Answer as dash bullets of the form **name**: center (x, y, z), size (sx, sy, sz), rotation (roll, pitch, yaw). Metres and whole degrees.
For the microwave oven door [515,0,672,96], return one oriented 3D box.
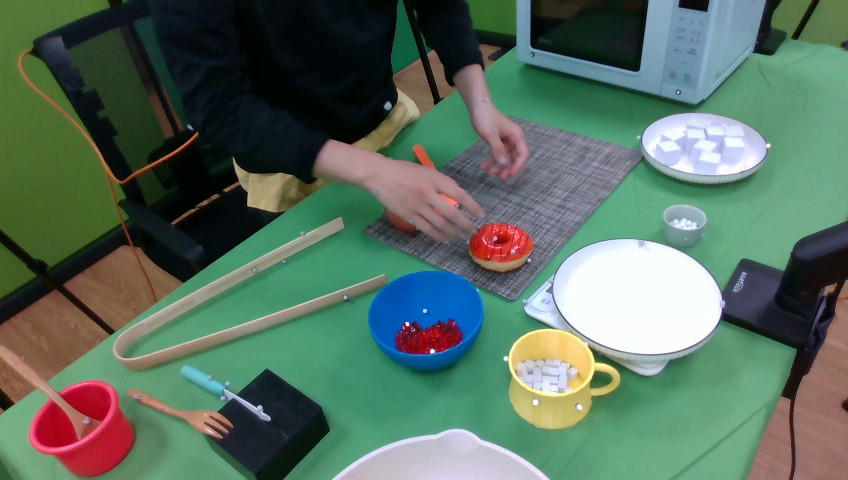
- **microwave oven door**: center (0.343, -0.454, 1.259), size (0.353, 0.245, 0.039), rotation (26, 51, 33)

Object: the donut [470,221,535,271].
- **donut**: center (0.119, 0.009, 0.923), size (0.099, 0.048, 0.098), rotation (-3, 39, 3)

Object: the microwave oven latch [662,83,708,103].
- **microwave oven latch**: center (0.517, -0.296, 1.204), size (0.078, 0.029, 0.030), rotation (27, 52, 35)

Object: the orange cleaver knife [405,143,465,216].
- **orange cleaver knife**: center (0.005, -0.113, 1.102), size (0.077, 0.012, 0.209), rotation (-24, 45, -9)

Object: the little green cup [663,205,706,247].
- **little green cup**: center (0.396, -0.020, 0.926), size (0.061, 0.039, 0.061), rotation (-4, 40, 4)

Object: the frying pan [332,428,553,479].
- **frying pan**: center (-0.089, 0.306, 0.564), size (0.487, 0.103, 0.306), rotation (10, 41, 7)

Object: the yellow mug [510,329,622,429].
- **yellow mug**: center (0.168, 0.164, 0.721), size (0.130, 0.064, 0.099), rotation (0, 40, 8)

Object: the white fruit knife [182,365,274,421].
- **white fruit knife**: center (-0.245, 0.187, 0.747), size (0.205, 0.027, 0.016), rotation (9, 41, 41)

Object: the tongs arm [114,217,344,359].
- **tongs arm**: center (-0.280, 0.068, 0.927), size (0.386, 0.026, 0.050), rotation (-29, 48, -22)

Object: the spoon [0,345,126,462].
- **spoon**: center (-0.434, 0.192, 0.720), size (0.194, 0.021, 0.042), rotation (47, 53, -6)

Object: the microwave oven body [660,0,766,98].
- **microwave oven body**: center (0.472, -0.513, 1.317), size (0.438, 0.261, 0.327), rotation (26, 51, 34)

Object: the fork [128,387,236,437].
- **fork**: center (-0.305, 0.207, 0.744), size (0.206, 0.019, 0.028), rotation (3, 41, 36)

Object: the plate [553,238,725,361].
- **plate**: center (0.273, 0.078, 0.783), size (0.209, 0.038, 0.208), rotation (-4, 41, 4)

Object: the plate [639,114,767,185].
- **plate**: center (0.489, -0.157, 1.074), size (0.207, 0.039, 0.206), rotation (-4, 40, 4)

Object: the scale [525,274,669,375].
- **scale**: center (0.254, 0.091, 0.821), size (0.199, 0.032, 0.149), rotation (28, 51, 35)

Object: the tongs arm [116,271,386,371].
- **tongs arm**: center (-0.238, 0.114, 0.870), size (0.389, 0.028, 0.028), rotation (-18, 48, -12)

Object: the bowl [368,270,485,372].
- **bowl**: center (0.007, 0.118, 0.791), size (0.151, 0.077, 0.150), rotation (-5, 40, 4)

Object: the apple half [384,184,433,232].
- **apple half**: center (-0.023, -0.046, 0.987), size (0.081, 0.075, 0.053), rotation (-8, 43, -6)

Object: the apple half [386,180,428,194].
- **apple half**: center (-0.028, -0.072, 1.016), size (0.081, 0.081, 0.032), rotation (-10, 45, -2)
